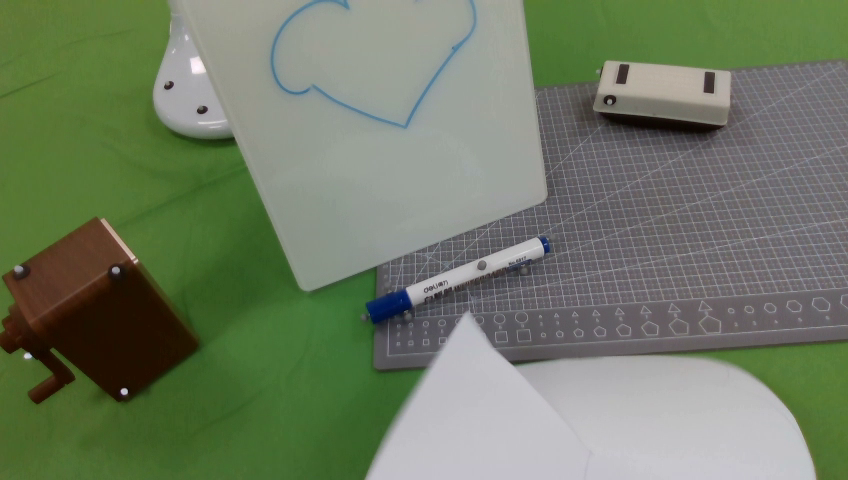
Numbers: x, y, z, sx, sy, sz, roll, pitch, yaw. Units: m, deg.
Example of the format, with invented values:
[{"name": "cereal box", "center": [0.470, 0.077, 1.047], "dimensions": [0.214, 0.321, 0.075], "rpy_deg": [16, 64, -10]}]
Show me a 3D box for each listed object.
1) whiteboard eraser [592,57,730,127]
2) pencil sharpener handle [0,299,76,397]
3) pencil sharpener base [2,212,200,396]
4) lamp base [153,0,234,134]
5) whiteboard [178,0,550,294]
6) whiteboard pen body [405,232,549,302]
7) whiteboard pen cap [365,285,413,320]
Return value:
[{"name": "whiteboard eraser", "center": [0.211, -0.132, 0.543], "dimensions": [0.112, 0.042, 0.055], "rpy_deg": [11, 55, 15]}, {"name": "pencil sharpener handle", "center": [-0.253, 0.071, 0.384], "dimensions": [0.030, 0.068, 0.035], "rpy_deg": [-39, 45, -21]}, {"name": "pencil sharpener base", "center": [-0.216, 0.048, 0.414], "dimensions": [0.076, 0.108, 0.061], "rpy_deg": [-39, 57, -21]}, {"name": "lamp base", "center": [-0.219, -0.221, 0.580], "dimensions": [0.177, 0.182, 0.160], "rpy_deg": [30, 61, 30]}, {"name": "whiteboard", "center": [-0.049, -0.152, 0.462], "dimensions": [0.217, 0.308, 0.142], "rpy_deg": [-21, 33, -8]}, {"name": "whiteboard pen body", "center": [0.029, 0.024, 0.452], "dimensions": [0.141, 0.017, 0.017], "rpy_deg": [-21, 52, -8]}, {"name": "whiteboard pen cap", "center": [-0.025, 0.045, 0.444], "dimensions": [0.033, 0.018, 0.018], "rpy_deg": [-22, 52, -8]}]
